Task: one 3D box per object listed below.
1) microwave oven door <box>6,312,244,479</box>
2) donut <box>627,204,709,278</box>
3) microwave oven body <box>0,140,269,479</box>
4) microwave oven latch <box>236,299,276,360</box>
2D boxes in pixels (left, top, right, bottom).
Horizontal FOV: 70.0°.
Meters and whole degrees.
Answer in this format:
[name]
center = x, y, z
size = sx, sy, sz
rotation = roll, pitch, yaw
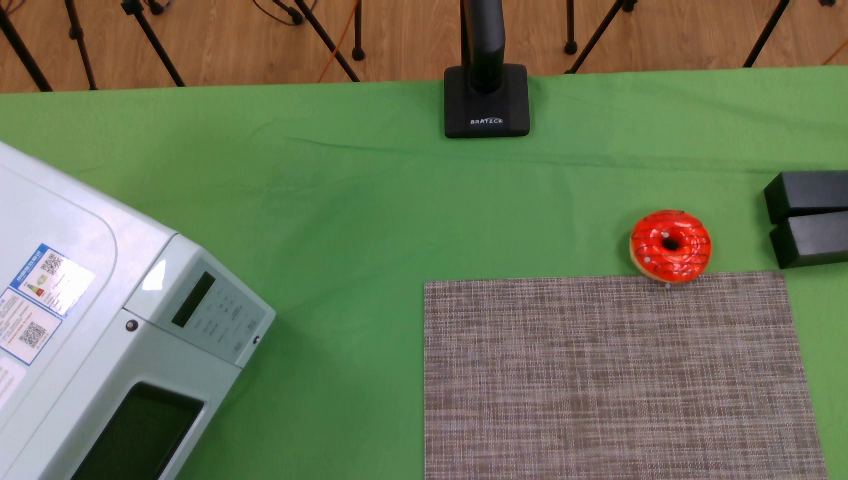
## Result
[microwave oven door]
center = -0.322, 0.251, 0.581
size = 0.039, 0.245, 0.354
rotation = 25, 73, 13
[donut]
center = 0.305, 0.002, 0.758
size = 0.099, 0.048, 0.098
rotation = -3, 66, 7
[microwave oven body]
center = -0.432, 0.158, 0.628
size = 0.325, 0.262, 0.440
rotation = 25, 74, 12
[microwave oven latch]
center = -0.212, 0.105, 0.737
size = 0.030, 0.030, 0.079
rotation = 27, 74, 12
